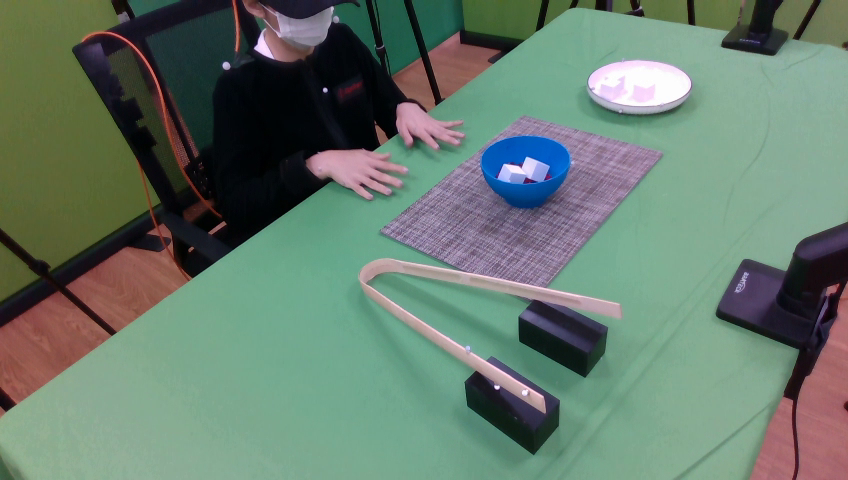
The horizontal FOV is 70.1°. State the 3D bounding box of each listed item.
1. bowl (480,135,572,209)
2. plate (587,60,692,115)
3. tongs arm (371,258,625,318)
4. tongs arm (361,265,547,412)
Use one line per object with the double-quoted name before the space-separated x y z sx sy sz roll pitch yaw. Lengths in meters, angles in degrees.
"bowl" 0.172 -0.107 1.025 0.151 0.077 0.150 -4 40 4
"plate" 0.445 -0.313 1.263 0.209 0.038 0.208 -5 40 4
"tongs arm" 0.082 0.063 0.828 0.384 0.028 0.028 8 46 35
"tongs arm" 0.023 0.111 0.783 0.051 0.027 0.381 -37 36 -25
